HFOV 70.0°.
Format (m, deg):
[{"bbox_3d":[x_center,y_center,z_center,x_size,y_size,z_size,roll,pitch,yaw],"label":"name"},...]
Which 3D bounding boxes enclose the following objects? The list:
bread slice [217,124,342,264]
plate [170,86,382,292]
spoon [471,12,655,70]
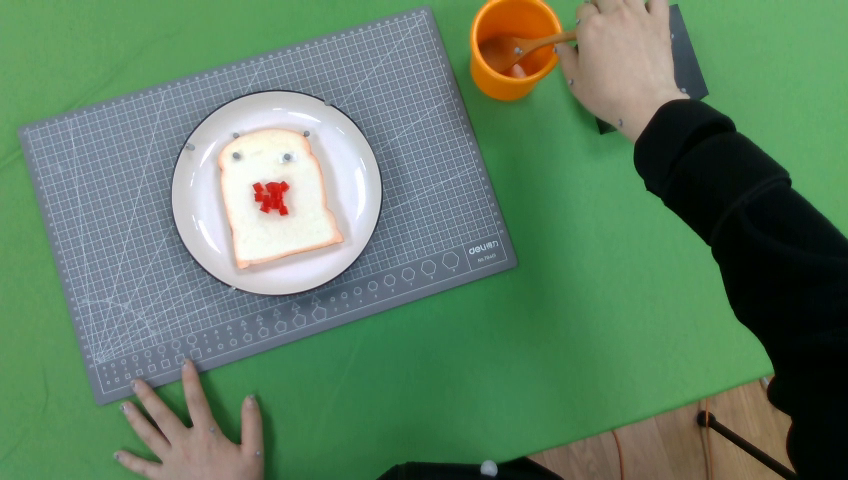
[{"bbox_3d":[-0.154,-0.050,0.615,0.107,0.018,0.134,-18,86,-5],"label":"bread slice"},{"bbox_3d":[-0.146,-0.051,0.615,0.209,0.038,0.208,0,85,-3],"label":"plate"},{"bbox_3d":[0.126,-0.197,0.589,0.022,0.192,0.041,12,84,-46],"label":"spoon"}]
